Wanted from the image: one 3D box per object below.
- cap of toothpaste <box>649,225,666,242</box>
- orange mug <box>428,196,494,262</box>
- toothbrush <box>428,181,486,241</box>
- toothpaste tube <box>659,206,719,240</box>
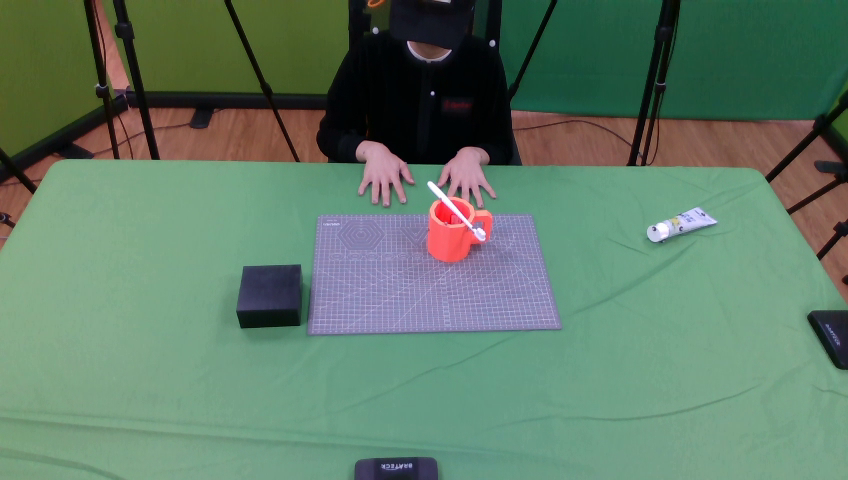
[{"bbox_3d":[0.473,-0.015,1.226,0.011,0.037,0.037,-20,51,-26],"label":"cap of toothpaste"},{"bbox_3d":[0.070,-0.023,1.164,0.126,0.101,0.083,-7,46,-5],"label":"orange mug"},{"bbox_3d":[0.059,-0.058,1.125,0.014,0.017,0.180,-24,52,-24],"label":"toothbrush"},{"bbox_3d":[0.542,-0.035,1.259,0.165,0.034,0.054,-19,54,-26],"label":"toothpaste tube"}]
